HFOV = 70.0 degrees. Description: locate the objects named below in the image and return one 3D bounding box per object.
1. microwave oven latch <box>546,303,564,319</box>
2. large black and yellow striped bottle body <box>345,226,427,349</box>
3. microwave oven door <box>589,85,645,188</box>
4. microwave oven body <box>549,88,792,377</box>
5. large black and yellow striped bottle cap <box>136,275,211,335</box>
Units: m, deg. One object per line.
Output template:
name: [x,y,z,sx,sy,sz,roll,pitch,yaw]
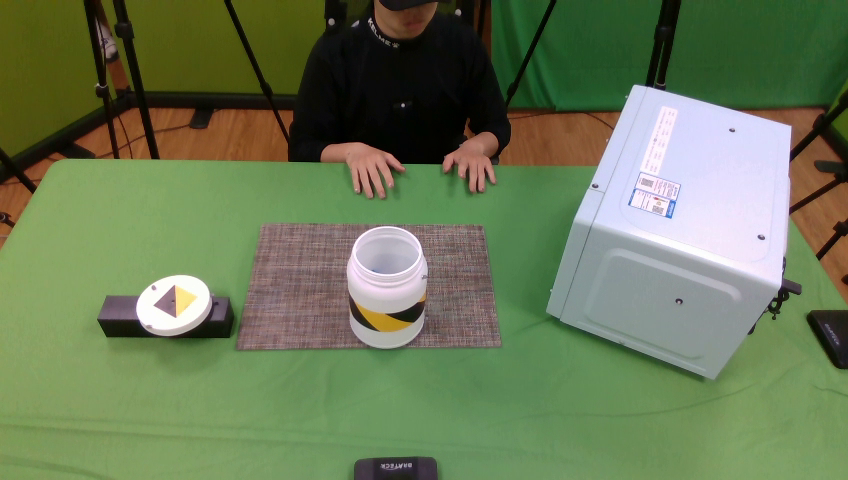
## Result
microwave oven latch: [0.242,0.102,1.081,0.030,0.029,0.079,21,48,17]
large black and yellow striped bottle body: [-0.062,0.078,0.998,0.131,0.185,0.130,2,46,-2]
microwave oven door: [0.342,-0.107,1.149,0.039,0.245,0.354,20,48,15]
microwave oven body: [0.456,-0.028,1.088,0.325,0.261,0.440,20,47,16]
large black and yellow striped bottle cap: [-0.412,0.105,0.998,0.115,0.019,0.114,3,46,-3]
